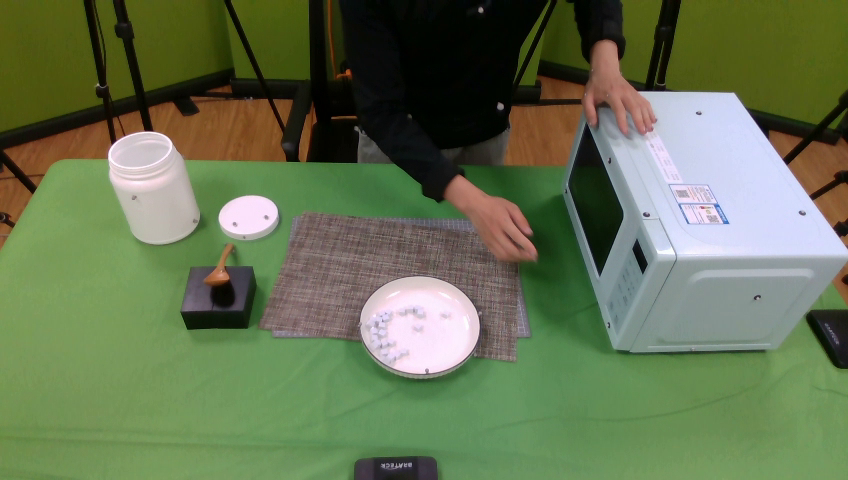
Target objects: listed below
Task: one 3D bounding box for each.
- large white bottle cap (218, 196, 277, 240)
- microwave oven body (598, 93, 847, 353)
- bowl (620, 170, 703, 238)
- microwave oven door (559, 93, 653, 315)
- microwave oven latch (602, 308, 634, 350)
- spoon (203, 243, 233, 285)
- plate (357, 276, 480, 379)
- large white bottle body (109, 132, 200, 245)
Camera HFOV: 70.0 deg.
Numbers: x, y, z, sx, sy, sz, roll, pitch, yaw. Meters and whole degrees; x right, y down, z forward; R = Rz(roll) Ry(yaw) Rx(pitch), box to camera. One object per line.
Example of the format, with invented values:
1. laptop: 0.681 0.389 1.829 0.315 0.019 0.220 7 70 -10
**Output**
1. large white bottle cap: -0.354 -0.045 1.220 0.115 0.018 0.114 2 45 -2
2. microwave oven body: 0.475 -0.042 1.109 0.326 0.261 0.438 -1 45 -4
3. bowl: 0.445 -0.057 1.166 0.151 0.077 0.150 2 46 -1
4. microwave oven door: 0.327 -0.074 1.123 0.039 0.245 0.353 -1 46 -5
5. microwave oven latch: 0.332 0.152 1.044 0.030 0.029 0.078 -1 45 -4
6. spoon: -0.360 0.039 1.087 0.041 0.022 0.192 -5 24 -7
7. plate: -0.010 0.151 1.038 0.209 0.038 0.208 2 47 -2
8. large white bottle body: -0.506 -0.097 1.141 0.131 0.185 0.130 2 46 -2
